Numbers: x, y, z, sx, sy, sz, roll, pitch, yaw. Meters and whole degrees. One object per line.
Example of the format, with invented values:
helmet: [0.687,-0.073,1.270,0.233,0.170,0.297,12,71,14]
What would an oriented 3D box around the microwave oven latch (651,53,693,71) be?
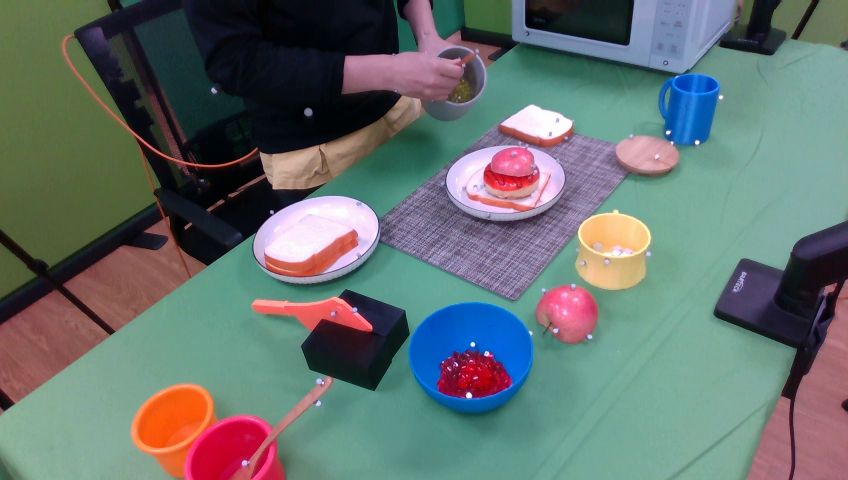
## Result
microwave oven latch: [0.532,-0.386,1.301,0.078,0.029,0.030,27,52,34]

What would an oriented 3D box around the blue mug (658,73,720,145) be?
blue mug: [0.483,-0.250,1.127,0.082,0.106,0.115,-26,44,-19]

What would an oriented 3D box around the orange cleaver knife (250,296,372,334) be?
orange cleaver knife: [-0.158,0.103,0.828,0.210,0.078,0.012,-4,43,39]

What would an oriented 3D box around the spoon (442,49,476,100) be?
spoon: [0.053,-0.282,1.061,0.042,0.193,0.021,-15,76,-18]

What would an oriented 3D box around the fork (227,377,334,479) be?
fork: [-0.163,0.216,0.647,0.207,0.019,0.028,-49,41,16]

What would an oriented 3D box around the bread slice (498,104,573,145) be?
bread slice: [0.231,-0.231,1.205,0.105,0.019,0.130,-36,47,-29]

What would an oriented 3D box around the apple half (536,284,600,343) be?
apple half: [0.196,0.091,0.815,0.075,0.053,0.080,-22,42,-20]

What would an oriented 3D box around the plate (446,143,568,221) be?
plate: [0.142,-0.097,1.045,0.207,0.039,0.206,-4,40,4]

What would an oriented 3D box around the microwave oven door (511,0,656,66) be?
microwave oven door: [0.351,-0.540,1.349,0.353,0.245,0.039,24,50,31]

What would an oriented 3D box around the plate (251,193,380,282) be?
plate: [-0.174,-0.001,0.984,0.209,0.038,0.208,-3,40,3]

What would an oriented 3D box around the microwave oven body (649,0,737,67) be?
microwave oven body: [0.475,-0.602,1.411,0.438,0.261,0.327,23,50,32]

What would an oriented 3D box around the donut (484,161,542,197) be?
donut: [0.149,-0.109,1.016,0.099,0.048,0.098,-4,39,4]

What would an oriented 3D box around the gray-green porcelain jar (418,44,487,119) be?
gray-green porcelain jar: [0.047,-0.285,1.108,0.106,0.105,0.126,-17,0,-11]

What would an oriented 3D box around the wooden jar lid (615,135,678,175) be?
wooden jar lid: [0.398,-0.151,1.086,0.108,0.021,0.108,-1,42,2]

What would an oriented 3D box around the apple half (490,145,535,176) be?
apple half: [0.147,-0.138,0.993,0.081,0.033,0.081,1,37,0]

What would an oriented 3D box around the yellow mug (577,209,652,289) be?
yellow mug: [0.279,0.004,0.893,0.099,0.064,0.130,5,42,14]

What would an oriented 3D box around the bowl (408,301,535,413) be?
bowl: [0.059,0.156,0.739,0.151,0.077,0.150,-4,40,4]

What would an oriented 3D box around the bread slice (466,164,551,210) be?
bread slice: [0.141,-0.092,1.042,0.133,0.018,0.107,10,43,19]
